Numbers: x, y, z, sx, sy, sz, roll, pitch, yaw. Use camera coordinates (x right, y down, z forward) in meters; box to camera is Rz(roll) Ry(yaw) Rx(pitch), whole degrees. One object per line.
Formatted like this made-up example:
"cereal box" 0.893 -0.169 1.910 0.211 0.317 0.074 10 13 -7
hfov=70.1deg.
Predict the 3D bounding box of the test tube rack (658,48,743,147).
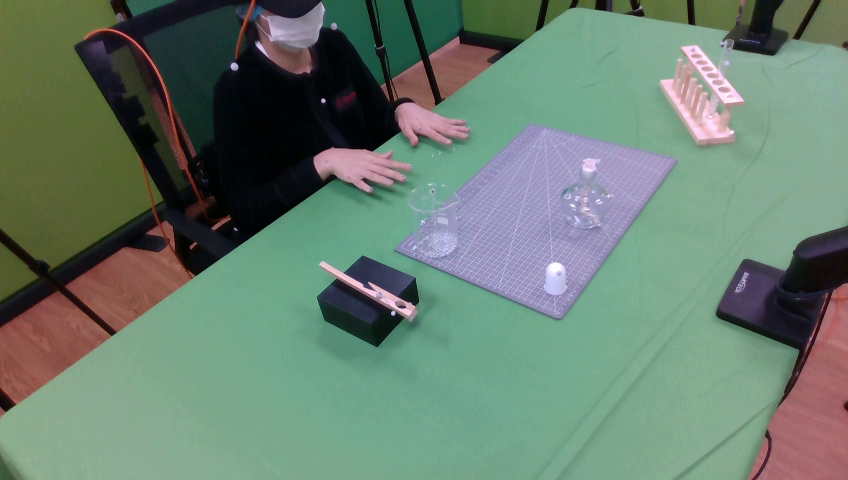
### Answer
"test tube rack" 0.532 -0.284 1.180 0.067 0.085 0.241 -5 40 4

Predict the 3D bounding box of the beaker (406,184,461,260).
"beaker" 0.019 -0.026 0.939 0.084 0.101 0.074 1 41 9

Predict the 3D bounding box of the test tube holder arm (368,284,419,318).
"test tube holder arm" -0.044 0.081 0.813 0.087 0.015 0.010 23 55 31

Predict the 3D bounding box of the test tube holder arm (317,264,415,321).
"test tube holder arm" -0.083 0.070 0.833 0.177 0.015 0.013 22 54 30

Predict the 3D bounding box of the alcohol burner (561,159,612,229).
"alcohol burner" 0.257 -0.077 0.951 0.078 0.119 0.077 -3 40 3

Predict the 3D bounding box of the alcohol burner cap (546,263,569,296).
"alcohol burner cap" 0.191 0.053 0.862 0.034 0.048 0.033 -5 40 4

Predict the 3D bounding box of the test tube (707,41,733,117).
"test tube" 0.542 -0.293 1.111 0.017 0.151 0.017 -4 43 5
